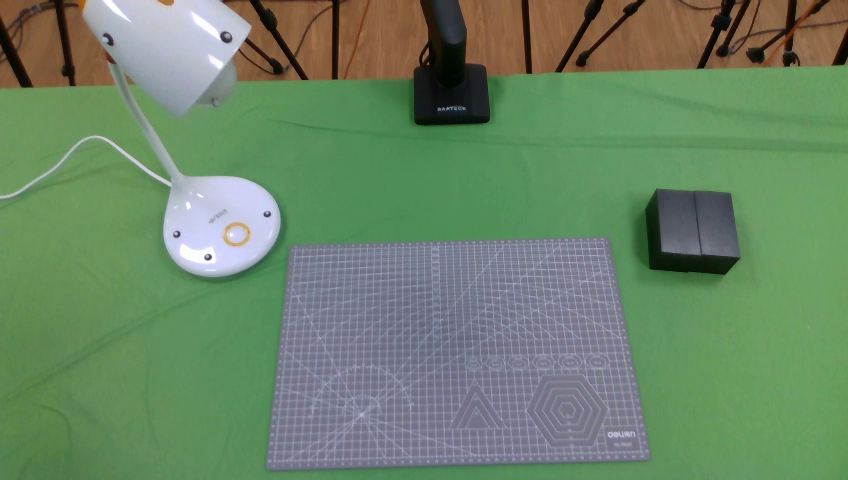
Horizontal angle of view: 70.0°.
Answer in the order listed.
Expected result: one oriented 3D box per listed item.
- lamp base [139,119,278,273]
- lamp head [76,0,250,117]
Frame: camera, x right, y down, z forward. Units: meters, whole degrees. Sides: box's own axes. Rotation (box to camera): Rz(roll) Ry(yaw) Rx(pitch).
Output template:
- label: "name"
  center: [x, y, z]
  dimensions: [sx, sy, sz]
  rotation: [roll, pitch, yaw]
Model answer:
- label: "lamp base"
  center: [-0.300, -0.069, 0.793]
  dimensions: [0.178, 0.182, 0.160]
  rotation: [29, 66, 19]
- label: "lamp head"
  center: [-0.236, -0.188, 0.536]
  dimensions: [0.124, 0.112, 0.112]
  rotation: [36, 61, -24]
